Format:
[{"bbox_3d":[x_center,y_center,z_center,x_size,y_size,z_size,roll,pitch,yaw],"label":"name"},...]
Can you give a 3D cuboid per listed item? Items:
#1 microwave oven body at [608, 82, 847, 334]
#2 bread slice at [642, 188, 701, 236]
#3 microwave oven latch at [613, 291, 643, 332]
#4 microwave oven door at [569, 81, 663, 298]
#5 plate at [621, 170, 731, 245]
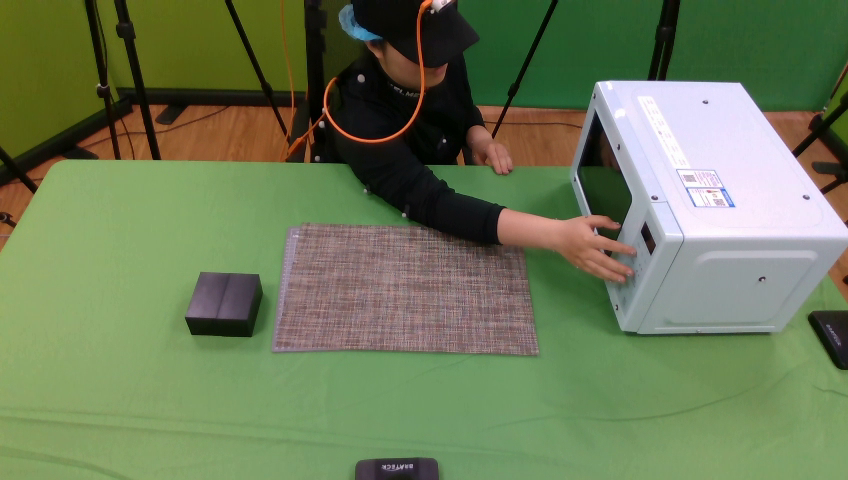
[{"bbox_3d":[0.501,-0.070,1.132,0.326,0.261,0.438,-1,45,-4],"label":"microwave oven body"},{"bbox_3d":[0.494,-0.057,1.196,0.105,0.019,0.131,6,43,4],"label":"bread slice"},{"bbox_3d":[0.358,0.125,1.068,0.030,0.029,0.078,1,45,-2],"label":"microwave oven latch"},{"bbox_3d":[0.353,-0.103,1.147,0.039,0.245,0.353,0,46,-4],"label":"microwave oven door"},{"bbox_3d":[0.490,-0.061,1.193,0.209,0.038,0.208,2,45,-2],"label":"plate"}]
